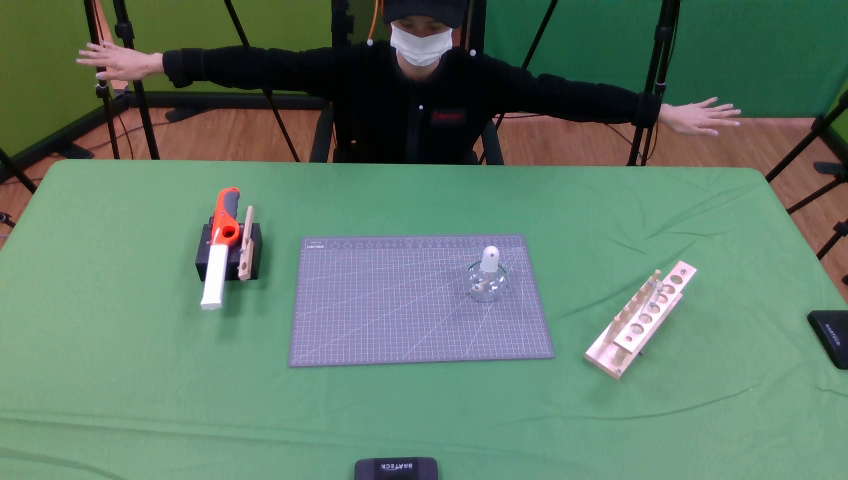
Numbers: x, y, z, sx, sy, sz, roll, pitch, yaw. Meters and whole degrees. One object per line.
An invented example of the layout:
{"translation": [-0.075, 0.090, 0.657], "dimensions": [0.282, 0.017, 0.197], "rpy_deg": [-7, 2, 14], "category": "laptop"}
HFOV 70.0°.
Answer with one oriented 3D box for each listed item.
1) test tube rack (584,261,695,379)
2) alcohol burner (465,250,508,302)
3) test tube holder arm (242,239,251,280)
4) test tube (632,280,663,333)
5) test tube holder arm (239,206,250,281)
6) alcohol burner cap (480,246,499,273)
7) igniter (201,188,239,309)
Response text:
{"translation": [0.380, 0.127, 1.062], "dimensions": [0.066, 0.085, 0.242], "rpy_deg": [34, 53, 26], "category": "test tube rack"}
{"translation": [0.114, 0.057, 1.085], "dimensions": [0.078, 0.120, 0.077], "rpy_deg": [2, 48, -2], "category": "alcohol burner"}
{"translation": [-0.314, 0.034, 1.076], "dimensions": [0.010, 0.015, 0.087], "rpy_deg": [-6, 47, -6], "category": "test tube holder arm"}
{"translation": [0.363, 0.121, 0.997], "dimensions": [0.017, 0.151, 0.017], "rpy_deg": [2, 44, -1], "category": "test tube"}
{"translation": [-0.327, 0.002, 1.106], "dimensions": [0.013, 0.015, 0.177], "rpy_deg": [-7, 47, -7], "category": "test tube holder arm"}
{"translation": [0.117, 0.032, 1.060], "dimensions": [0.034, 0.048, 0.033], "rpy_deg": [3, 42, -3], "category": "alcohol burner cap"}
{"translation": [-0.367, 0.006, 1.095], "dimensions": [0.057, 0.025, 0.274], "rpy_deg": [-2, 49, -7], "category": "igniter"}
